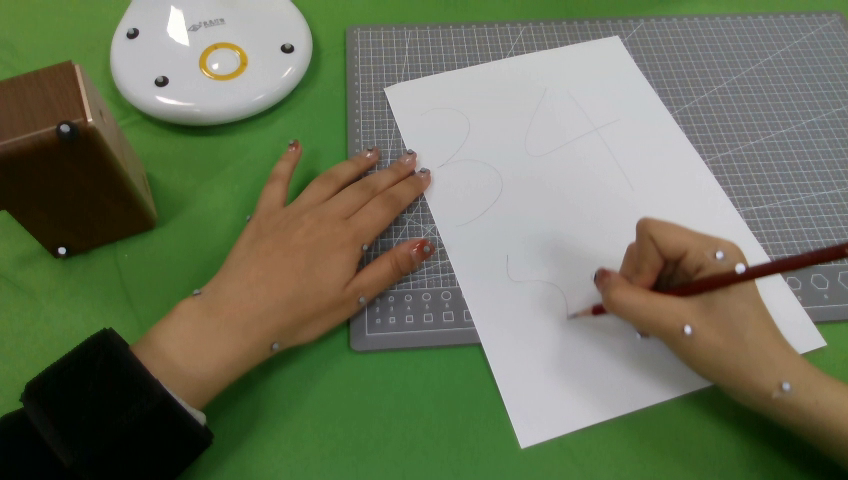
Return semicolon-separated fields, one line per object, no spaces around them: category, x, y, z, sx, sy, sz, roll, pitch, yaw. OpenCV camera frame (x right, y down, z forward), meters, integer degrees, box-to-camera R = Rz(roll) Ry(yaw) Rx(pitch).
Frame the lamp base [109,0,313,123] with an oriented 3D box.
lamp base;-0.179;-0.206;0.435;0.160;0.182;0.177;-31;62;-18

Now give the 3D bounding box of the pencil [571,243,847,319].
pencil;0.160;0.022;0.326;0.012;0.193;0.012;20;60;-39

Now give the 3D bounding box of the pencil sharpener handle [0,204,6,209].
pencil sharpener handle;-0.274;-0.035;0.359;0.031;0.068;0.035;-21;65;-13

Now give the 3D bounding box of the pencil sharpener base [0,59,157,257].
pencil sharpener base;-0.228;-0.046;0.381;0.077;0.108;0.061;-21;62;-13
